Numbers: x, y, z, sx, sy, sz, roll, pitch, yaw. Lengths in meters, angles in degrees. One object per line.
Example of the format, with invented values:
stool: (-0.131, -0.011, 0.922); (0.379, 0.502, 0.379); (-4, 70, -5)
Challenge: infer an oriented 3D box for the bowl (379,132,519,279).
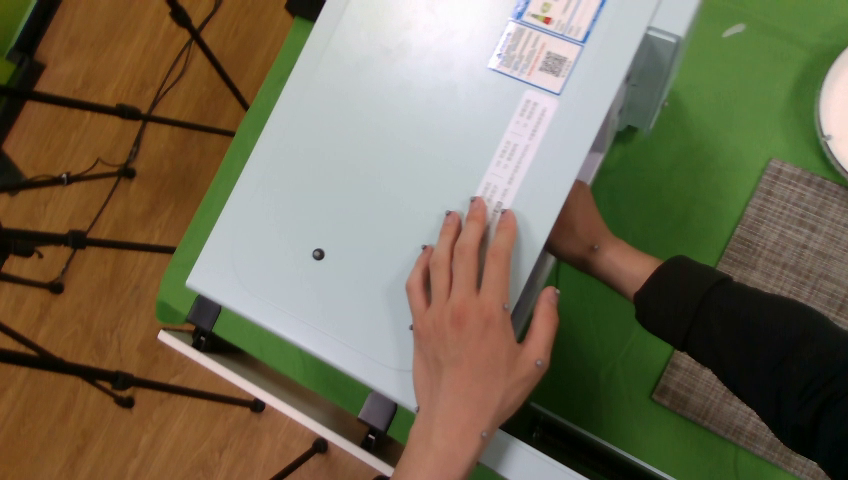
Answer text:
bowl: (0.036, -0.033, 0.653); (0.151, 0.077, 0.151); (-1, 88, 21)

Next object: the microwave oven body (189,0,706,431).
microwave oven body: (0.029, -0.086, 0.622); (0.324, 0.261, 0.441); (26, 89, 15)

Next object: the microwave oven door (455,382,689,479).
microwave oven door: (0.209, 0.233, 0.530); (0.354, 0.245, 0.039); (25, 88, 15)

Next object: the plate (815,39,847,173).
plate: (0.522, -0.138, 0.635); (0.207, 0.039, 0.207); (-2, 82, 13)

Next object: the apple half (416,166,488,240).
apple half: (0.028, -0.037, 0.644); (0.081, 0.033, 0.081); (2, 98, 16)

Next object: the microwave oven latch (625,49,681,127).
microwave oven latch: (0.257, -0.170, 0.682); (0.030, 0.029, 0.079); (31, 90, 15)
